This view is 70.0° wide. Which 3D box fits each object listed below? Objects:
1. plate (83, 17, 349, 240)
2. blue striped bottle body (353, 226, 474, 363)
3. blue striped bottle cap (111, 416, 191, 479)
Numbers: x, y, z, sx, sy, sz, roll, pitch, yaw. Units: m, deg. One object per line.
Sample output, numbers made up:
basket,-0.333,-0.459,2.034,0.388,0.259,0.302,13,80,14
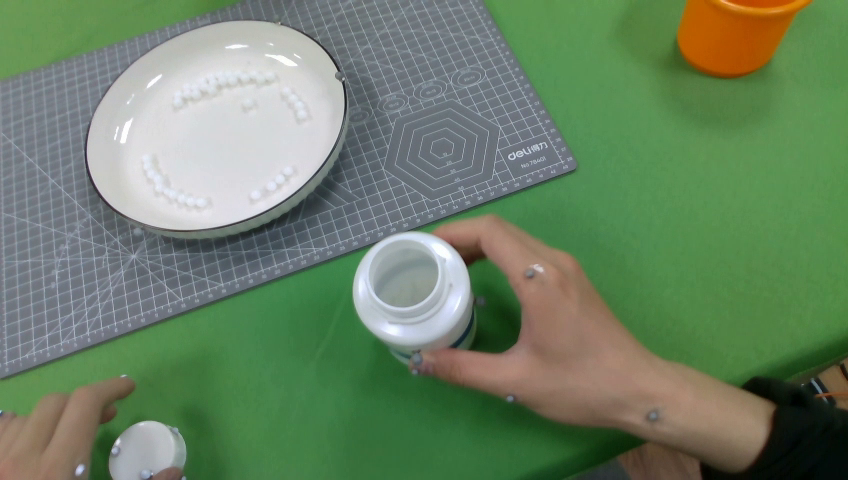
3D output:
plate,-0.160,-0.089,0.483,0.207,0.039,0.206,-2,63,5
blue striped bottle body,-0.003,0.032,0.346,0.063,0.121,0.062,-2,72,5
blue striped bottle cap,-0.175,0.136,0.388,0.044,0.021,0.044,-2,66,6
